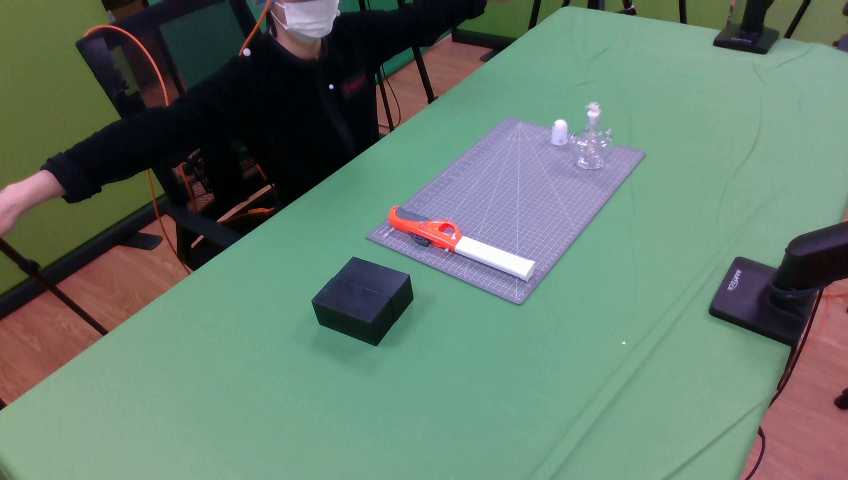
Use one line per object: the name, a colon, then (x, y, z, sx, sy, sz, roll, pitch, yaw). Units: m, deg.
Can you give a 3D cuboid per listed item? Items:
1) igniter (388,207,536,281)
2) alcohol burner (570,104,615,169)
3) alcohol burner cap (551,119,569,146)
igniter: (0.049, 0.001, 0.954, 0.274, 0.025, 0.057, 22, 59, 31)
alcohol burner: (0.299, -0.186, 1.071, 0.078, 0.119, 0.077, -6, 41, 6)
alcohol burner cap: (0.261, -0.208, 1.156, 0.034, 0.048, 0.033, -5, 41, 4)
